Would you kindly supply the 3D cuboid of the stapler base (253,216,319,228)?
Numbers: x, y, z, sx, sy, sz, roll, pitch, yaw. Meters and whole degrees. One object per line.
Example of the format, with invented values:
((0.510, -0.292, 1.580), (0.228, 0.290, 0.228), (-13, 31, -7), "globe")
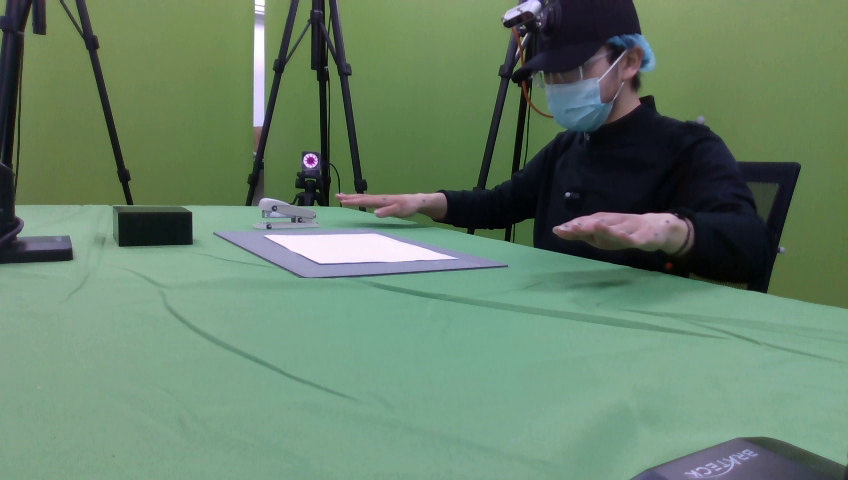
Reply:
((-0.274, -0.037, 1.203), (0.131, 0.024, 0.041), (-1, 11, -40), "stapler base")

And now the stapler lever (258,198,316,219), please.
((-0.271, -0.062, 1.201), (0.119, 0.040, 0.026), (-1, 11, -40), "stapler lever")
